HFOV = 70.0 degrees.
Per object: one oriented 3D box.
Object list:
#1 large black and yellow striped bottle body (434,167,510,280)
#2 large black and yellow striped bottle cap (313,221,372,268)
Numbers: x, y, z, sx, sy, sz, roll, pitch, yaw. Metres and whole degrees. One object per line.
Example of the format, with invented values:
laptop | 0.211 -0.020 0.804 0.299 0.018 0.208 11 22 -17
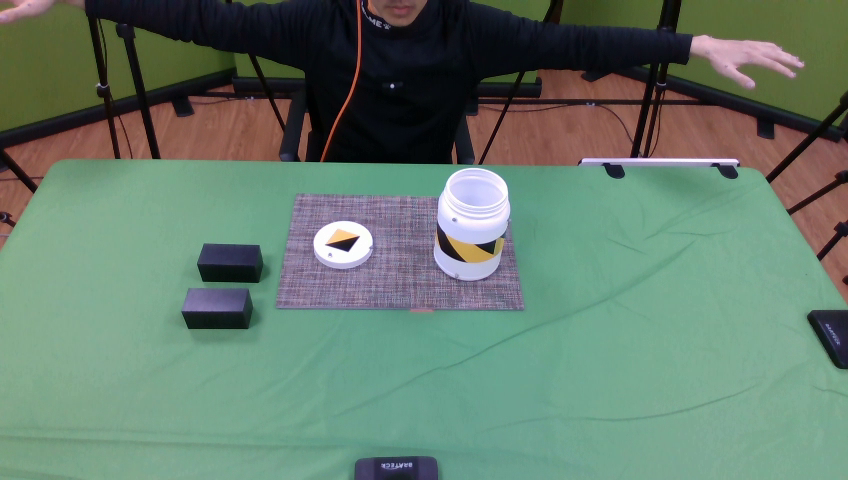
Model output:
large black and yellow striped bottle body | 0.087 -0.031 1.114 0.131 0.185 0.130 2 46 -2
large black and yellow striped bottle cap | -0.158 0.007 1.176 0.115 0.019 0.114 2 45 -2
